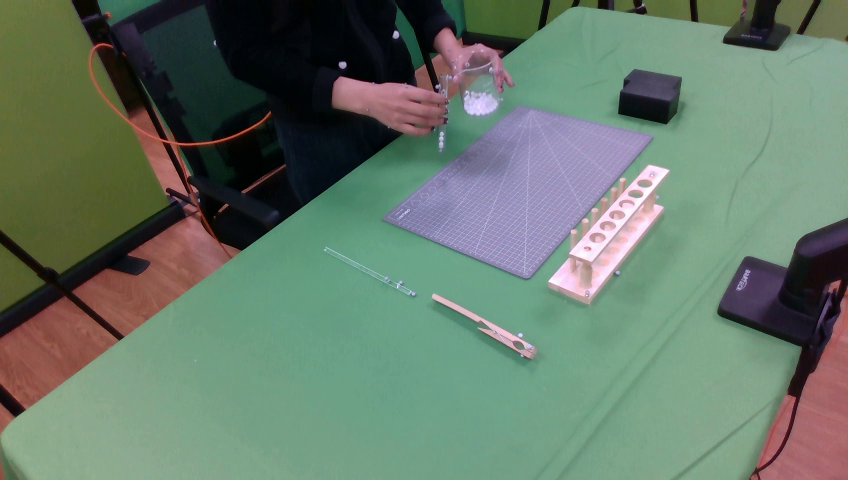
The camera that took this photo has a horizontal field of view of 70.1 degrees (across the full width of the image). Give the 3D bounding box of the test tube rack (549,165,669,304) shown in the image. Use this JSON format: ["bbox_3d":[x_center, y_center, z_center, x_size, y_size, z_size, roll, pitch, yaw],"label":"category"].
[{"bbox_3d":[0.279,-0.018,0.902,0.066,0.085,0.243,24,50,33],"label":"test tube rack"}]

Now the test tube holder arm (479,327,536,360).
[{"bbox_3d":[0.110,0.134,0.805,0.087,0.015,0.010,29,83,36],"label":"test tube holder arm"}]

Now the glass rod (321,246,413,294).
[{"bbox_3d":[-0.094,0.045,0.956,0.198,0.008,0.008,24,51,33],"label":"glass rod"}]

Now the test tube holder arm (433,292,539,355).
[{"bbox_3d":[0.081,0.113,0.832,0.177,0.015,0.013,28,82,36],"label":"test tube holder arm"}]

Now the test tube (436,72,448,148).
[{"bbox_3d":[0.032,-0.225,1.063,0.017,0.151,0.017,1,43,0],"label":"test tube"}]

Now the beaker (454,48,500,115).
[{"bbox_3d":[0.097,-0.284,1.100,0.084,0.101,0.073,-37,45,-24],"label":"beaker"}]
